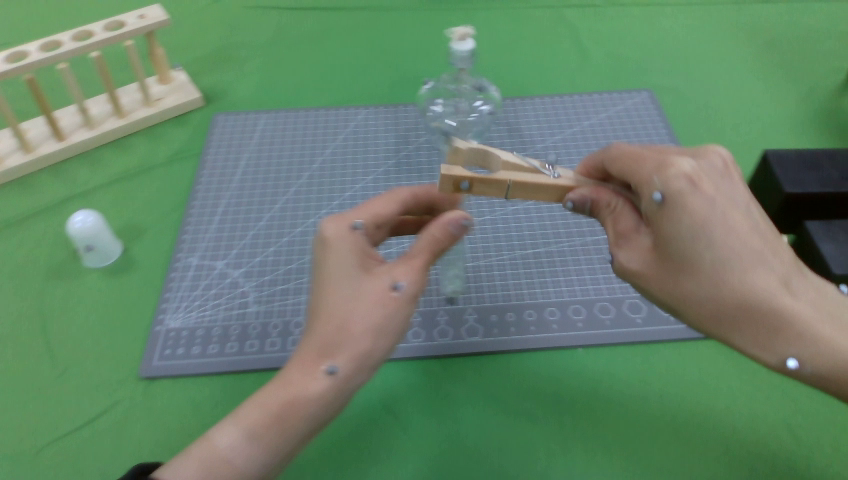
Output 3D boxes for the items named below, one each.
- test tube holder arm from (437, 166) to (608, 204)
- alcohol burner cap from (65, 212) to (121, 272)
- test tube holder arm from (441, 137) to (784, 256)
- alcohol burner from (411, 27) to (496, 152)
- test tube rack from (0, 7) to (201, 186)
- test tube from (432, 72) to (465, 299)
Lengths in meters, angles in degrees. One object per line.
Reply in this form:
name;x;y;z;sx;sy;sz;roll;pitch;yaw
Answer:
test tube holder arm;0.051;-0.028;0.315;0.088;0.015;0.010;3;48;-6
alcohol burner cap;-0.269;-0.001;0.486;0.034;0.048;0.033;0;48;1
test tube holder arm;0.095;-0.023;0.317;0.178;0.015;0.013;16;49;6
alcohol burner;0.027;-0.137;0.543;0.078;0.120;0.077;0;50;0
test tube rack;-0.350;-0.130;0.571;0.242;0.086;0.066;-28;54;-21
test tube;0.014;-0.021;0.335;0.017;0.151;0.017;-1;42;2
